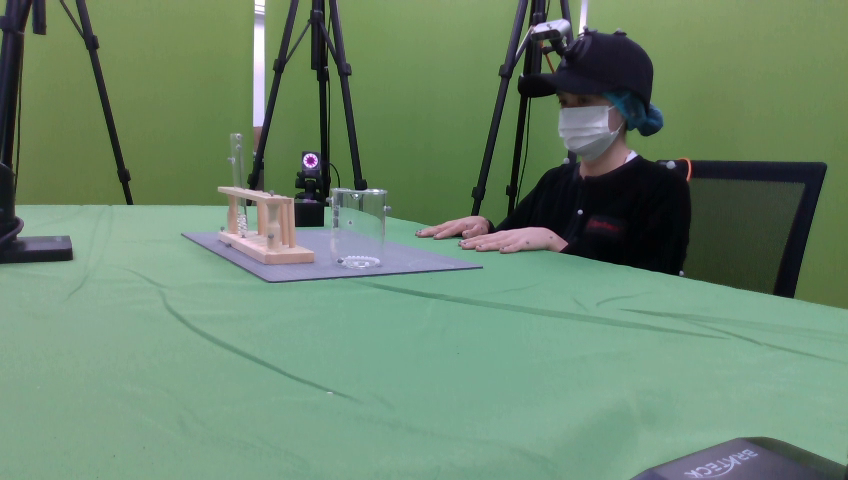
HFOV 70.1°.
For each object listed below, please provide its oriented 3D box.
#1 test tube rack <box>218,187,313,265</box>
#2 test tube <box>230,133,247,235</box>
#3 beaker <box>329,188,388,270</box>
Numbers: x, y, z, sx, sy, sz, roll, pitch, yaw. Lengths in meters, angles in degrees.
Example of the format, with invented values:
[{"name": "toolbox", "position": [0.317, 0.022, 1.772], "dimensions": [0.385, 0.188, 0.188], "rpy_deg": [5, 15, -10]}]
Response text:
[{"name": "test tube rack", "position": [-0.235, -0.027, 0.872], "dimensions": [0.067, 0.085, 0.241], "rpy_deg": [-2, 8, -32]}, {"name": "test tube", "position": [-0.273, -0.081, 0.892], "dimensions": [0.017, 0.150, 0.017], "rpy_deg": [-1, 9, 0]}, {"name": "beaker", "position": [-0.087, -0.016, 0.786], "dimensions": [0.074, 0.100, 0.083], "rpy_deg": [1, 7, -13]}]
